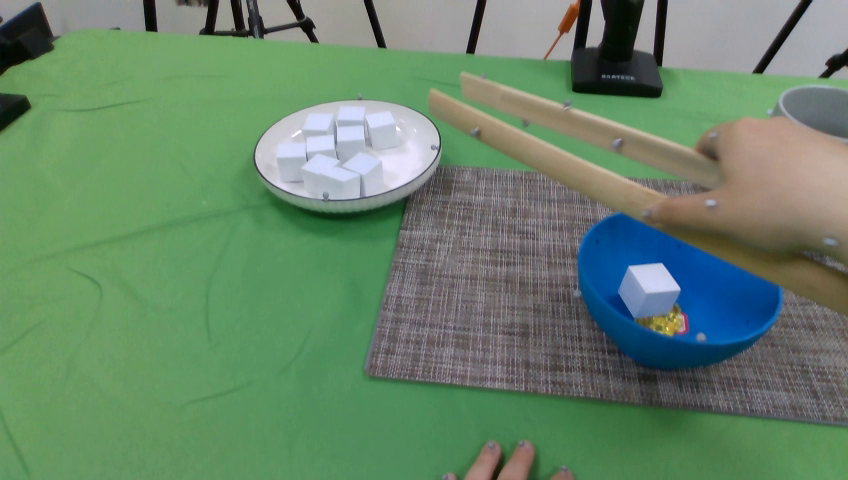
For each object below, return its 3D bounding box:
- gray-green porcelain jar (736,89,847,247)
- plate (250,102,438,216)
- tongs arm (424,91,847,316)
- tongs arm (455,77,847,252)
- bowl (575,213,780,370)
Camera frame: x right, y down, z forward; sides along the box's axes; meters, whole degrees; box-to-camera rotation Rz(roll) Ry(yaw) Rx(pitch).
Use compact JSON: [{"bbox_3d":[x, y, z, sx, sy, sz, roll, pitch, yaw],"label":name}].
[{"bbox_3d":[0.372,-0.065,0.587,0.106,0.127,0.105,0,42,0],"label":"gray-green porcelain jar"},{"bbox_3d":[-0.087,-0.090,0.683,0.209,0.038,0.207,0,41,1],"label":"plate"},{"bbox_3d":[0.129,-0.042,0.422,0.028,0.028,0.383,-28,43,-31],"label":"tongs arm"},{"bbox_3d":[0.148,-0.053,0.434,0.051,0.027,0.381,-34,46,-31],"label":"tongs arm"},{"bbox_3d":[0.192,0.052,0.491,0.151,0.077,0.150,0,41,0],"label":"bowl"}]
